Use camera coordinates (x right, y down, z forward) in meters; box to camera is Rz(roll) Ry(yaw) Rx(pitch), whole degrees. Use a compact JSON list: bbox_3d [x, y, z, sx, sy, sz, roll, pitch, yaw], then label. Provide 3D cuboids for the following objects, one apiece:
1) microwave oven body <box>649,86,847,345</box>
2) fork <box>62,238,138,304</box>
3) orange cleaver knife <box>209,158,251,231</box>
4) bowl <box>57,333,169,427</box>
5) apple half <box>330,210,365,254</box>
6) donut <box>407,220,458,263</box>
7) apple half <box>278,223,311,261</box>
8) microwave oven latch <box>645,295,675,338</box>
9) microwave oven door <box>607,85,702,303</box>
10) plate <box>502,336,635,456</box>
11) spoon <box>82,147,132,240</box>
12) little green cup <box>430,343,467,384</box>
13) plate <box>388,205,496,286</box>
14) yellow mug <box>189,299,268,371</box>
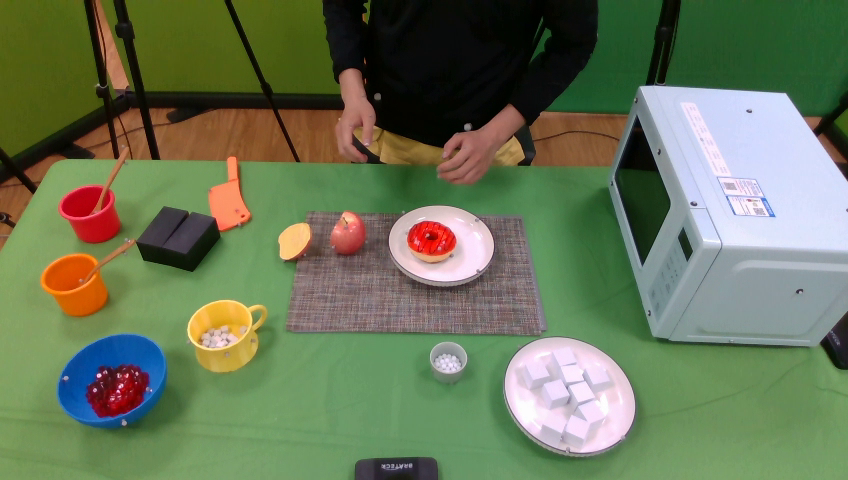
[{"bbox_3d":[0.568,-0.053,1.118,0.326,0.261,0.439,2,45,-1],"label":"microwave oven body"},{"bbox_3d":[-0.547,0.053,1.019,0.207,0.019,0.028,-36,41,23],"label":"fork"},{"bbox_3d":[-0.409,-0.099,1.266,0.077,0.012,0.210,-13,49,-10],"label":"orange cleaver knife"},{"bbox_3d":[-0.456,0.223,0.912,0.151,0.077,0.150,3,45,-2],"label":"bowl"},{"bbox_3d":[-0.140,-0.009,1.157,0.053,0.075,0.080,17,44,8],"label":"apple half"},{"bbox_3d":[0.016,0.002,1.166,0.099,0.048,0.098,2,44,-2],"label":"donut"},{"bbox_3d":[-0.241,0.007,1.157,0.081,0.033,0.081,-17,54,25],"label":"apple half"},{"bbox_3d":[0.412,0.134,1.061,0.030,0.029,0.078,3,45,0],"label":"microwave oven latch"},{"bbox_3d":[0.423,-0.094,1.141,0.039,0.245,0.353,2,46,-1],"label":"microwave oven door"},{"bbox_3d":[0.225,0.248,0.964,0.208,0.039,0.206,2,46,-2],"label":"plate"},{"bbox_3d":[-0.602,-0.089,1.156,0.041,0.022,0.193,27,95,21],"label":"spoon"},{"bbox_3d":[0.039,0.203,0.994,0.061,0.039,0.061,2,46,-2],"label":"little green cup"},{"bbox_3d":[0.033,0.014,1.171,0.209,0.038,0.208,2,46,-2],"label":"plate"},{"bbox_3d":[-0.316,0.148,1.002,0.131,0.064,0.099,-33,56,-31],"label":"yellow mug"}]
